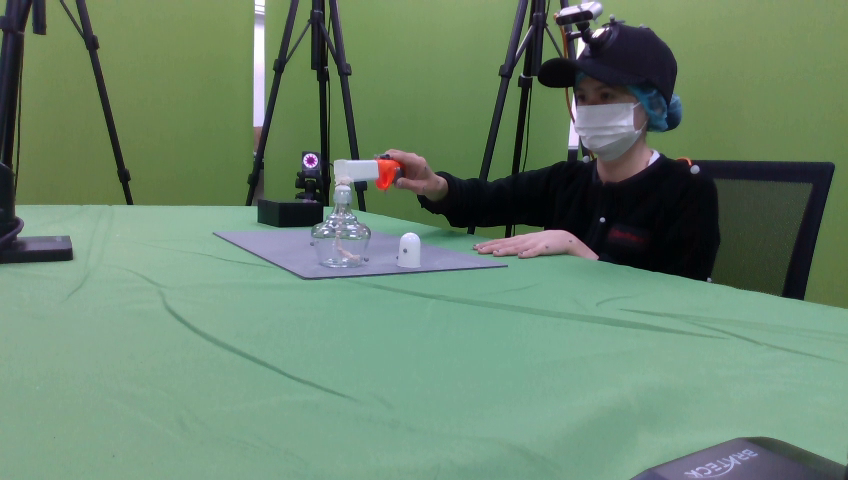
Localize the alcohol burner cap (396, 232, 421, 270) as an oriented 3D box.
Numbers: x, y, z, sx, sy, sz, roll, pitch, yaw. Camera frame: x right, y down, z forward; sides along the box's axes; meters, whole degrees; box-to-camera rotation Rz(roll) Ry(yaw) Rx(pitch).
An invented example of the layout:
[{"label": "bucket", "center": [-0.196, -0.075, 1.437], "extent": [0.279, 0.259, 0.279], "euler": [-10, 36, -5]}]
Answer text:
[{"label": "alcohol burner cap", "center": [-0.020, 0.014, 0.795], "extent": [0.034, 0.048, 0.034], "euler": [2, 6, 0]}]

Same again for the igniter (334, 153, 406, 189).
[{"label": "igniter", "center": [-0.074, -0.105, 0.918], "extent": [0.025, 0.057, 0.277], "euler": [-2, 6, 15]}]

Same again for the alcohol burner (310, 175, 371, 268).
[{"label": "alcohol burner", "center": [-0.107, -0.024, 0.778], "extent": [0.078, 0.119, 0.078], "euler": [3, 5, 0]}]
